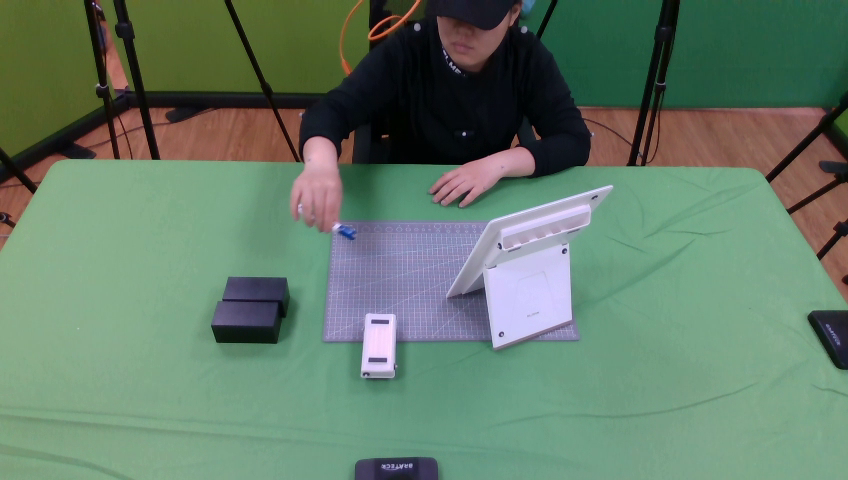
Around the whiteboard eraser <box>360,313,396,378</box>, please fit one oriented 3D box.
[{"bbox_3d":[-0.075,0.176,1.006,0.055,0.042,0.112,3,50,-4],"label":"whiteboard eraser"}]

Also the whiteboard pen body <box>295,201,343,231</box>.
[{"bbox_3d":[-0.174,-0.039,1.057,0.140,0.017,0.017,25,49,29],"label":"whiteboard pen body"}]

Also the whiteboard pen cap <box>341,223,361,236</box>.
[{"bbox_3d":[-0.123,-0.017,1.028,0.033,0.018,0.018,17,44,-14],"label":"whiteboard pen cap"}]

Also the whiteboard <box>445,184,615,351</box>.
[{"bbox_3d":[0.187,0.065,0.989,0.217,0.306,0.143,-15,68,-18],"label":"whiteboard"}]
